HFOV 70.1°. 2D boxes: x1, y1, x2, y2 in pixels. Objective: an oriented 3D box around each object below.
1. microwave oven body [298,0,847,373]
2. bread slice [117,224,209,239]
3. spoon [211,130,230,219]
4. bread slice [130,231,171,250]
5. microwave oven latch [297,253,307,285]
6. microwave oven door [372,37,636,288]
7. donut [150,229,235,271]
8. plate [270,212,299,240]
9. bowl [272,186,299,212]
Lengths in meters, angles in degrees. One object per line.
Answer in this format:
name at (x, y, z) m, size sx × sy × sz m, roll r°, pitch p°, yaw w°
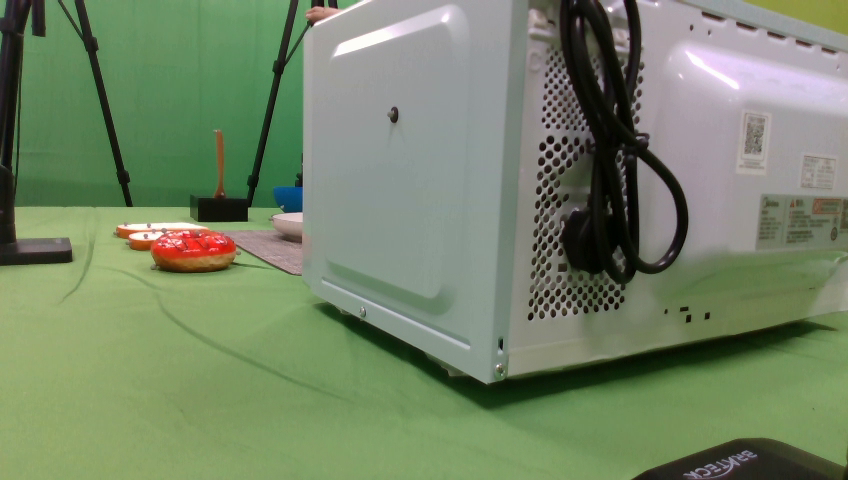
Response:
microwave oven body at (0.151, -0.055, 0.543) m, size 0.444 × 0.260 × 0.324 m, roll -1°, pitch 7°, yaw -33°
bread slice at (-0.443, -0.015, 1.023) m, size 0.104 × 0.019 × 0.132 m, roll 8°, pitch 8°, yaw 44°
spoon at (-0.436, -0.138, 1.296) m, size 0.042 × 0.193 × 0.021 m, roll -3°, pitch 23°, yaw -27°
bread slice at (-0.370, 0.001, 0.916) m, size 0.135 × 0.018 × 0.106 m, roll -1°, pitch 7°, yaw -32°
microwave oven latch at (-0.082, 0.027, 0.582) m, size 0.079 × 0.029 × 0.030 m, roll -1°, pitch 7°, yaw -33°
microwave oven door at (0.110, -0.080, 0.686) m, size 0.358 × 0.243 × 0.039 m, roll -2°, pitch 9°, yaw -33°
donut at (-0.285, 0.013, 0.747) m, size 0.099 × 0.048 × 0.099 m, roll 3°, pitch 10°, yaw 0°
plate at (-0.162, -0.022, 1.058) m, size 0.208 × 0.039 × 0.207 m, roll 2°, pitch 7°, yaw 0°
bowl at (-0.254, -0.075, 1.318) m, size 0.151 × 0.077 × 0.151 m, roll 2°, pitch 7°, yaw 0°
